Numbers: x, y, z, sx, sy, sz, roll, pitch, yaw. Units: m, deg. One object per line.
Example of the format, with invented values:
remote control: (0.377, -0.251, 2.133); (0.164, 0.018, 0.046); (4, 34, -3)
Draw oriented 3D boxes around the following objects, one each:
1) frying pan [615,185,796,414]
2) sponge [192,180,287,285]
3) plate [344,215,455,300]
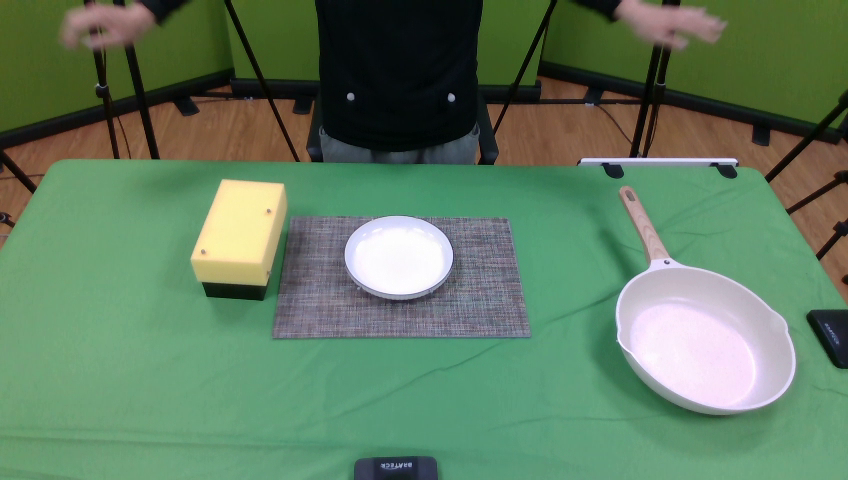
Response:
frying pan: (0.449, 0.087, 1.092); (0.307, 0.103, 0.484); (-4, 55, -10)
sponge: (-0.327, -0.018, 1.097); (0.118, 0.061, 0.205); (3, 46, -1)
plate: (-0.045, 0.036, 1.146); (0.208, 0.039, 0.206); (2, 46, -2)
